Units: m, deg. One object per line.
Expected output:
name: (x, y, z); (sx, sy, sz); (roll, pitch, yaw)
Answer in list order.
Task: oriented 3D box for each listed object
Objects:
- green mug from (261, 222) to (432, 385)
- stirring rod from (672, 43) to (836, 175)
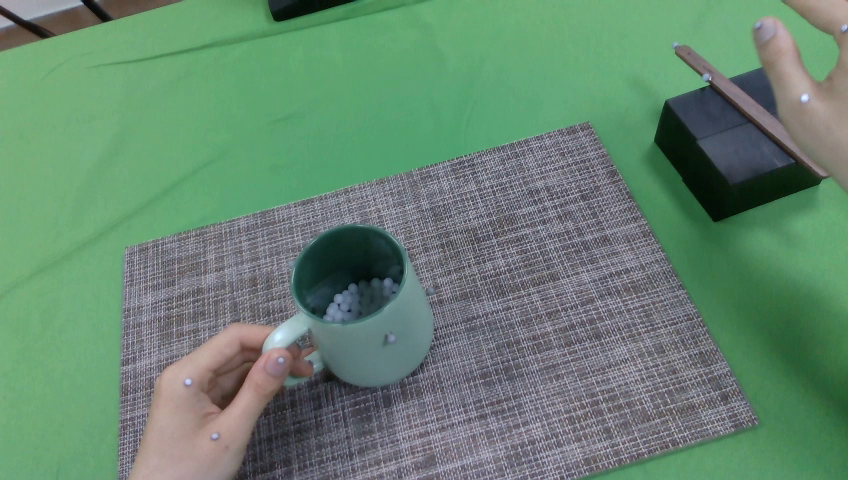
green mug: (-0.057, 0.057, 0.434); (0.125, 0.106, 0.091); (-36, 60, -14)
stirring rod: (0.266, -0.113, 0.500); (0.014, 0.006, 0.174); (-26, 57, -9)
